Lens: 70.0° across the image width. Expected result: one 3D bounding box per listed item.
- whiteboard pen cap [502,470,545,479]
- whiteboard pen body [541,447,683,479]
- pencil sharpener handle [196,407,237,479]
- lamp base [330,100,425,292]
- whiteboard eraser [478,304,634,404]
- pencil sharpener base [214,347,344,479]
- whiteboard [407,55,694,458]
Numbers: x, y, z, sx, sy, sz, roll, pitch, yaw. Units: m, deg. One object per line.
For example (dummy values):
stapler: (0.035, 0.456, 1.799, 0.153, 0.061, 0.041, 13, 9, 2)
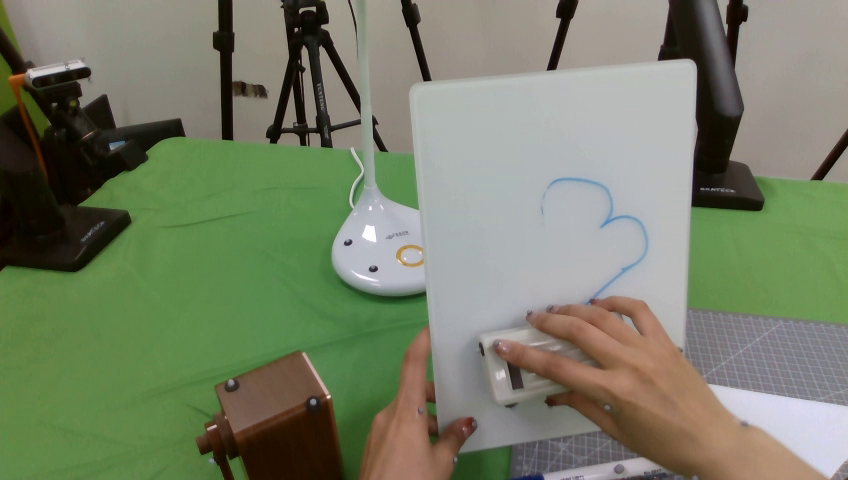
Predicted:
whiteboard pen cap: (0.078, 0.189, 0.469, 0.033, 0.018, 0.018, -7, 35, -7)
whiteboard pen body: (0.136, 0.181, 0.476, 0.141, 0.017, 0.017, -7, 35, -7)
pencil sharpener handle: (-0.153, 0.156, 0.434, 0.031, 0.068, 0.035, -21, 26, -24)
lamp base: (-0.043, -0.058, 0.693, 0.161, 0.182, 0.177, -25, 39, -29)
whiteboard eraser: (0.102, 0.089, 0.473, 0.113, 0.055, 0.042, -12, 0, -4)
pencil sharpener base: (-0.111, 0.148, 0.465, 0.077, 0.108, 0.060, -20, 40, -24)
whiteboard: (0.099, 0.005, 0.540, 0.217, 0.307, 0.143, -7, 16, -6)
